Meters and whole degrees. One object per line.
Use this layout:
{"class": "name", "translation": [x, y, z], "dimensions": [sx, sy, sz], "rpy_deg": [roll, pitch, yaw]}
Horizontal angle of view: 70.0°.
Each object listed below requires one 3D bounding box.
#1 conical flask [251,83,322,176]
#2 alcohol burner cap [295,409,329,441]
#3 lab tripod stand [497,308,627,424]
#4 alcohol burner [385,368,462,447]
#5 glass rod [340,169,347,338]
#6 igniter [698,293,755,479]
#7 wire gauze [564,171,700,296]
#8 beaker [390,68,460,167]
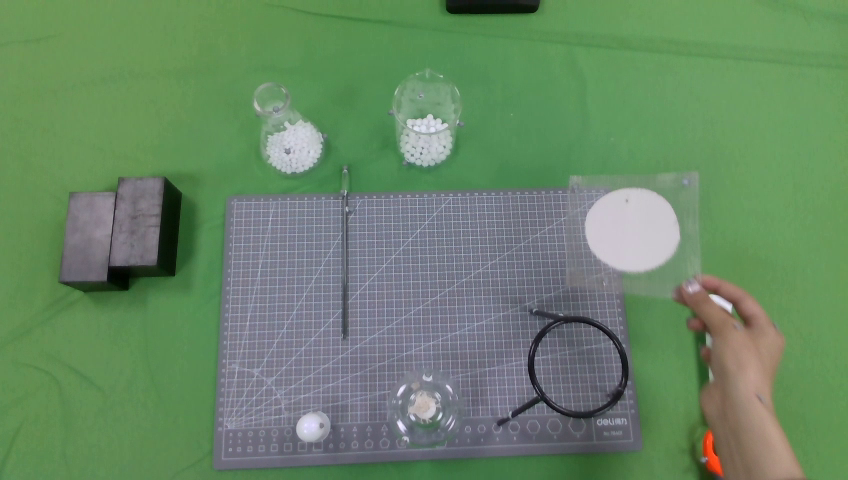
{"class": "conical flask", "translation": [-0.158, -0.125, 0.668], "dimensions": [0.075, 0.122, 0.075], "rpy_deg": [0, 74, -1]}
{"class": "alcohol burner cap", "translation": [-0.116, 0.190, 0.622], "dimensions": [0.034, 0.048, 0.033], "rpy_deg": [1, 75, -2]}
{"class": "lab tripod stand", "translation": [0.133, 0.131, 0.598], "dimensions": [0.148, 0.132, 0.147], "rpy_deg": [0, 76, -1]}
{"class": "alcohol burner", "translation": [0.000, 0.164, 0.596], "dimensions": [0.078, 0.119, 0.077], "rpy_deg": [0, 76, -1]}
{"class": "glass rod", "translation": [-0.092, 0.011, 0.688], "dimensions": [0.008, 0.008, 0.198], "rpy_deg": [-2, 74, -3]}
{"class": "igniter", "translation": [0.319, 0.194, 0.645], "dimensions": [0.057, 0.025, 0.275], "rpy_deg": [6, 74, -11]}
{"class": "wire gauze", "translation": [0.198, -0.009, 0.583], "dimensions": [0.125, 0.011, 0.121], "rpy_deg": [2, 74, 15]}
{"class": "beaker", "translation": [0.000, -0.134, 0.687], "dimensions": [0.074, 0.101, 0.083], "rpy_deg": [1, 73, -2]}
